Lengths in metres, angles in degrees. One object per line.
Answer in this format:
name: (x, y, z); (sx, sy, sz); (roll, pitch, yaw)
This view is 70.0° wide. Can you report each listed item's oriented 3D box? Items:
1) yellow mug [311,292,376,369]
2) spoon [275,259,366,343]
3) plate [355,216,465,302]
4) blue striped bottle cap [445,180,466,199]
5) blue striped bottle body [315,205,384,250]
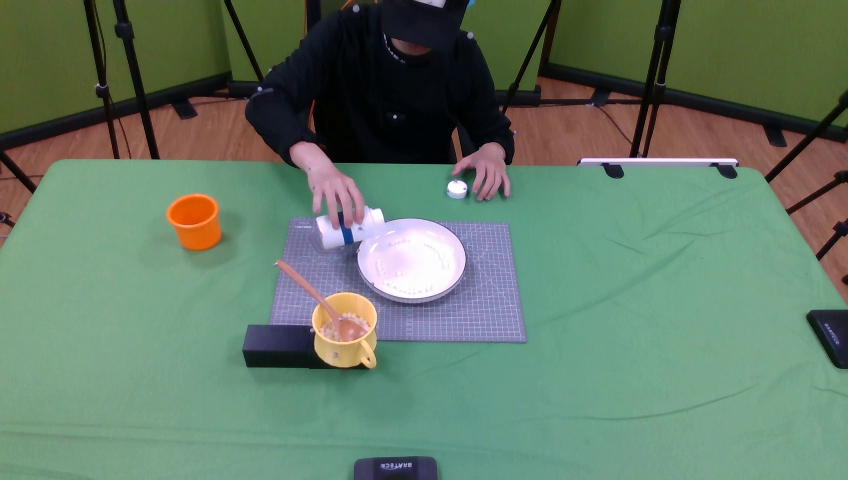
yellow mug: (-0.115, 0.150, 0.945); (0.100, 0.064, 0.130); (-29, 57, -28)
spoon: (-0.161, 0.098, 0.946); (0.194, 0.021, 0.041); (48, 56, -5)
plate: (-0.027, 0.039, 1.144); (0.208, 0.039, 0.206); (2, 46, -2)
blue striped bottle cap: (0.069, -0.109, 1.314); (0.044, 0.021, 0.044); (5, 44, -4)
blue striped bottle body: (-0.136, -0.027, 1.118); (0.121, 0.063, 0.062); (-15, 49, -10)
